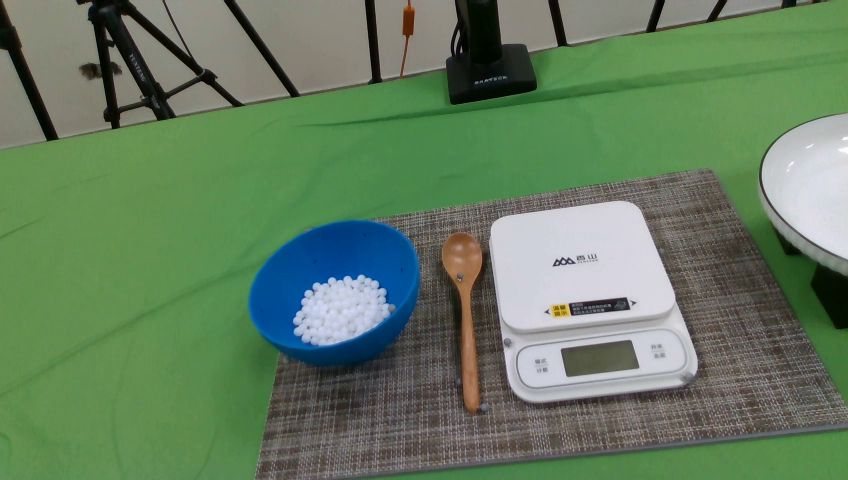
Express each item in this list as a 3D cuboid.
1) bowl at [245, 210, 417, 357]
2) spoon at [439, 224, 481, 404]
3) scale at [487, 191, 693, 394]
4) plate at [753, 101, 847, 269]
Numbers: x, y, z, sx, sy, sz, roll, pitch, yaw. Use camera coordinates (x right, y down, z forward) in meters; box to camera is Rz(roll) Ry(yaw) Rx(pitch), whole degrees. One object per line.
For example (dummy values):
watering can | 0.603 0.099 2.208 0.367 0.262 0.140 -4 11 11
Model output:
bowl | -0.073 0.052 0.544 0.151 0.077 0.150 -7 45 7
spoon | 0.035 0.059 0.550 0.041 0.022 0.192 3 45 -3
scale | 0.137 0.037 0.538 0.148 0.032 0.199 -9 45 7
plate | 0.375 -0.040 0.483 0.209 0.038 0.207 -7 45 7
